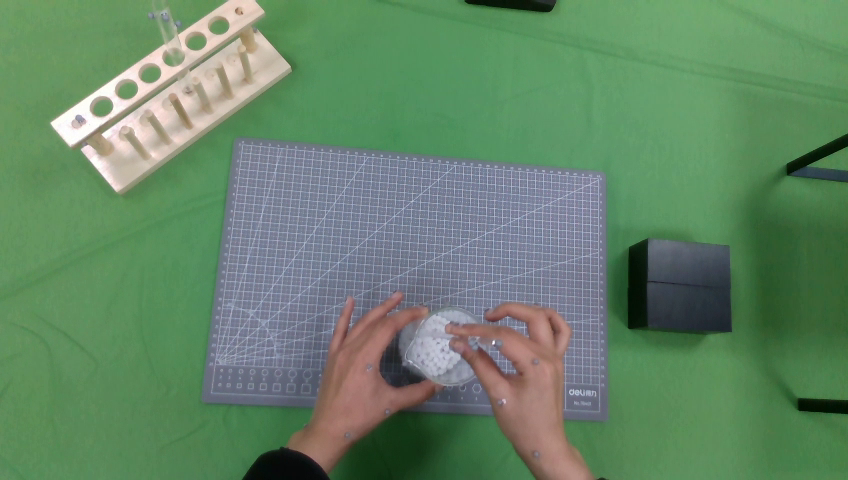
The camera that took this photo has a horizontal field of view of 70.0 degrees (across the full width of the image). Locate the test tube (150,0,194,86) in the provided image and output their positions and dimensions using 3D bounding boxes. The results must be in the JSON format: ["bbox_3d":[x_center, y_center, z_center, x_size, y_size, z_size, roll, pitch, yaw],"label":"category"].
[{"bbox_3d":[-0.256,-0.200,0.623,0.017,0.150,0.017,3,74,-10],"label":"test tube"}]

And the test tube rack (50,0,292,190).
[{"bbox_3d":[-0.266,-0.165,0.665,0.242,0.085,0.066,-41,85,-13],"label":"test tube rack"}]

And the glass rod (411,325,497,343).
[{"bbox_3d":[0.021,0.085,0.556,0.008,0.199,0.008,2,84,-19],"label":"glass rod"}]

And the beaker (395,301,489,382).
[{"bbox_3d":[0.011,0.103,0.613,0.084,0.100,0.074,-12,84,-15],"label":"beaker"}]
